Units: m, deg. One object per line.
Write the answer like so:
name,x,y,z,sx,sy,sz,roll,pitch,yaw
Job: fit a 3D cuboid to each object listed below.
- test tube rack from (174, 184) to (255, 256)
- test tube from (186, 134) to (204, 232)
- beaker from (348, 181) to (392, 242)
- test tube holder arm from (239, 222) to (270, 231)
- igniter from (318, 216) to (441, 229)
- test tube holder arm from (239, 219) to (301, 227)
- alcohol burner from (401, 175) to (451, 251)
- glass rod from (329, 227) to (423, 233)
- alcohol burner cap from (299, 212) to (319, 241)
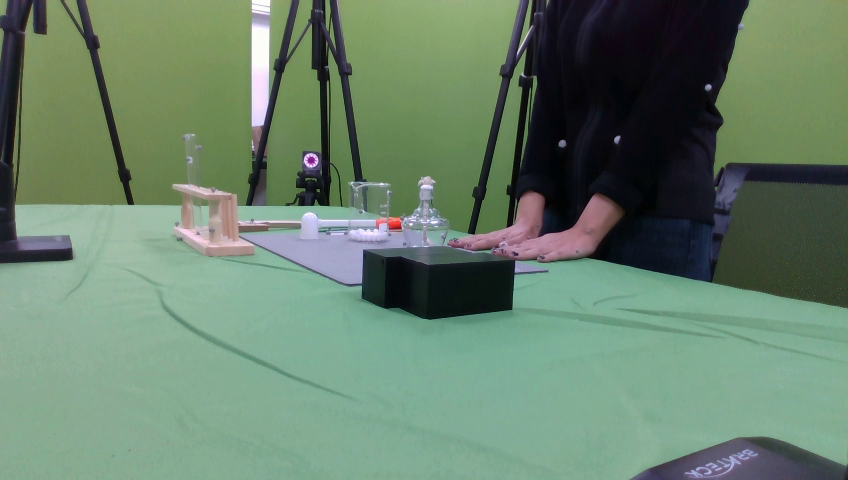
test tube rack,-0.327,-0.036,0.928,0.067,0.085,0.241,-2,9,-32
test tube,-0.350,-0.086,0.925,0.017,0.150,0.017,-2,7,1
beaker,-0.095,-0.049,1.027,0.074,0.100,0.084,5,9,25
test tube holder arm,-0.321,-0.024,1.100,0.088,0.015,0.010,-5,43,-49
igniter,-0.090,-0.035,1.222,0.278,0.025,0.057,-2,-1,-31
test tube holder arm,-0.295,-0.030,1.137,0.179,0.015,0.013,-6,44,-50
alcohol burner,0.003,-0.042,0.947,0.078,0.119,0.078,1,9,0
glass rod,-0.087,-0.019,1.147,0.201,0.008,0.008,-3,8,-32
alcohol burner cap,-0.195,-0.024,1.025,0.034,0.048,0.034,3,7,0
